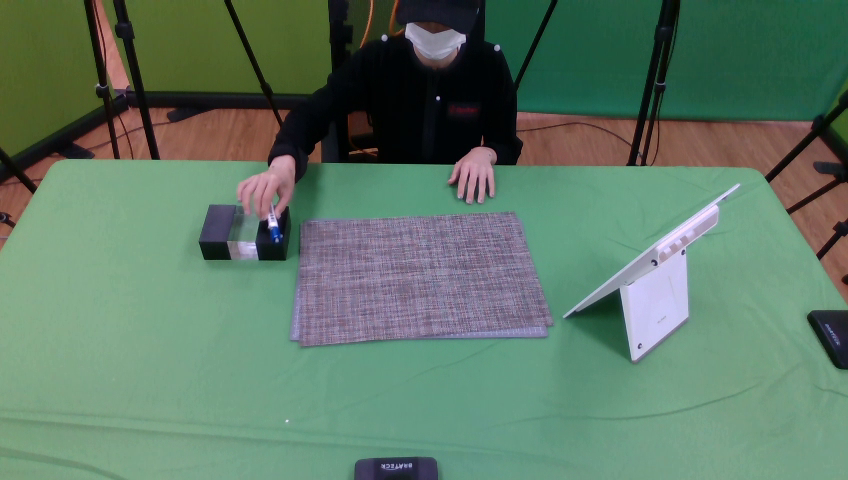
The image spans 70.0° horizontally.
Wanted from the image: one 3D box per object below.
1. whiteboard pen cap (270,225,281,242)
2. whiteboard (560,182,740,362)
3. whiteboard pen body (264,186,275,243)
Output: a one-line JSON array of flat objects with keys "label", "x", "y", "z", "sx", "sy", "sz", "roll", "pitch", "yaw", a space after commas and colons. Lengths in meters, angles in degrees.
[{"label": "whiteboard pen cap", "x": -0.268, "y": -0.013, "z": 1.090, "sx": 0.018, "sy": 0.018, "sz": 0.033, "roll": -10, "pitch": 45, "yaw": -14}, {"label": "whiteboard", "x": 0.406, "y": 0.075, "z": 1.001, "sx": 0.217, "sy": 0.306, "sz": 0.143, "roll": -28, "pitch": 73, "yaw": -28}, {"label": "whiteboard pen body", "x": -0.288, "y": -0.048, "z": 1.134, "sx": 0.017, "sy": 0.017, "sz": 0.140, "roll": -7, "pitch": 52, "yaw": -12}]
